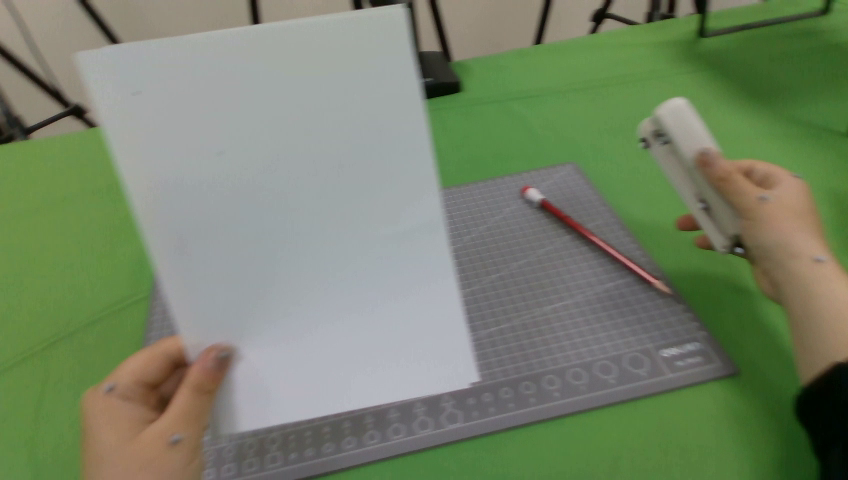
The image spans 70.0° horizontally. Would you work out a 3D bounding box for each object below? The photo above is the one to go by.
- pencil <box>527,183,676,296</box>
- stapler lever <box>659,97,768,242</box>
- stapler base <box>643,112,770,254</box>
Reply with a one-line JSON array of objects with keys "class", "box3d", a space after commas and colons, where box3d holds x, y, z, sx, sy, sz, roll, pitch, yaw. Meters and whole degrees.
[{"class": "pencil", "box3d": [0.158, -0.005, 0.563, 0.012, 0.012, 0.192, -25, 44, -20]}, {"class": "stapler lever", "box3d": [0.221, -0.057, 0.464, 0.027, 0.040, 0.117, -30, 76, 10]}, {"class": "stapler base", "box3d": [0.227, -0.054, 0.489, 0.041, 0.024, 0.130, -30, 76, 10]}]
